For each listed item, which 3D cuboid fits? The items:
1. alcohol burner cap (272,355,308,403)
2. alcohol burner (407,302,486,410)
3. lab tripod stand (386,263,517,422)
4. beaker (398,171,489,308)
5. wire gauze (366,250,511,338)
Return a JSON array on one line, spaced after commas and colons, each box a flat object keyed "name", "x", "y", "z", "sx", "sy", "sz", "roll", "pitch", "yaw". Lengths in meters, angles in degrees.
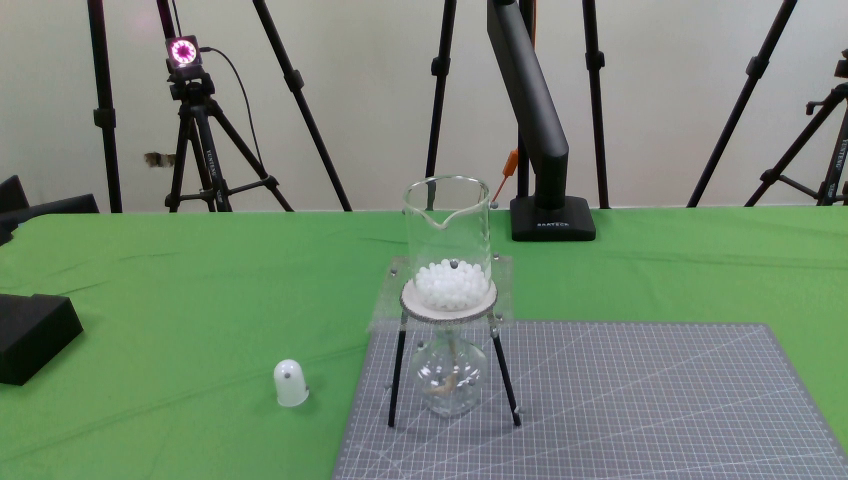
[{"name": "alcohol burner cap", "x": -0.139, "y": 0.140, "z": 0.622, "sx": 0.034, "sy": 0.048, "sz": 0.033, "roll": -2, "pitch": 32, "yaw": 2}, {"name": "alcohol burner", "x": 0.021, "y": 0.107, "z": 0.585, "sx": 0.078, "sy": 0.120, "sz": 0.077, "roll": -1, "pitch": 32, "yaw": 1}, {"name": "lab tripod stand", "x": 0.022, "y": 0.097, "z": 0.581, "sx": 0.148, "sy": 0.132, "sz": 0.147, "roll": -4, "pitch": 30, "yaw": 3}, {"name": "beaker", "x": 0.019, "y": 0.002, "z": 0.517, "sx": 0.074, "sy": 0.101, "sz": 0.083, "roll": 0, "pitch": 31, "yaw": 9}, {"name": "wire gauze", "x": 0.017, "y": 0.043, "z": 0.544, "sx": 0.121, "sy": 0.011, "sz": 0.124, "roll": -2, "pitch": 32, "yaw": 8}]
